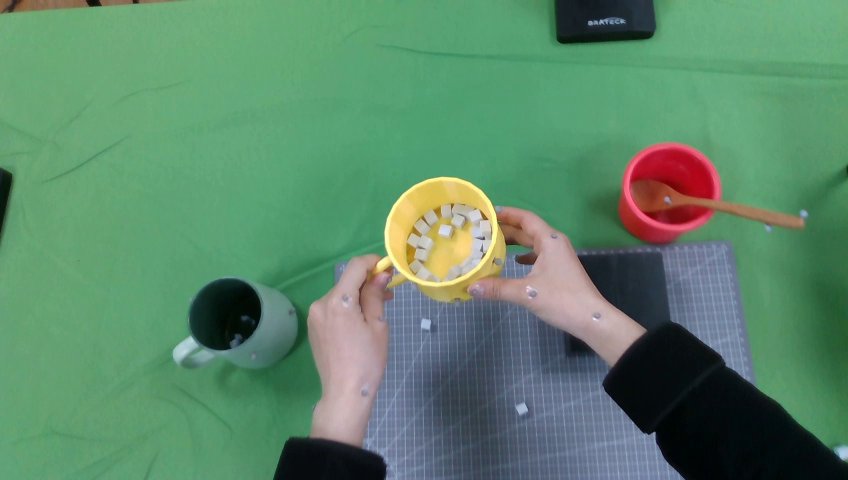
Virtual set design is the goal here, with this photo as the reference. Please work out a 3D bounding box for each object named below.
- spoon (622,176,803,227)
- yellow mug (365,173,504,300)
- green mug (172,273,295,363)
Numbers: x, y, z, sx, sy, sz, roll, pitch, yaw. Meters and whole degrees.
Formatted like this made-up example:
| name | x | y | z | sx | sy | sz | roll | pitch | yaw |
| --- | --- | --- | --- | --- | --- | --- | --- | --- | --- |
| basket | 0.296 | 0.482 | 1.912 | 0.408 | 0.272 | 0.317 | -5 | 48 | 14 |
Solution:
| name | x | y | z | sx | sy | sz | roll | pitch | yaw |
| --- | --- | --- | --- | --- | --- | --- | --- | --- | --- |
| spoon | 0.285 | -0.037 | 0.620 | 0.041 | 0.022 | 0.192 | -56 | 33 | -7 |
| yellow mug | 0.005 | 0.006 | 0.544 | 0.131 | 0.064 | 0.099 | -30 | 69 | 4 |
| green mug | -0.209 | 0.094 | 0.653 | 0.125 | 0.105 | 0.092 | -34 | 74 | -4 |
